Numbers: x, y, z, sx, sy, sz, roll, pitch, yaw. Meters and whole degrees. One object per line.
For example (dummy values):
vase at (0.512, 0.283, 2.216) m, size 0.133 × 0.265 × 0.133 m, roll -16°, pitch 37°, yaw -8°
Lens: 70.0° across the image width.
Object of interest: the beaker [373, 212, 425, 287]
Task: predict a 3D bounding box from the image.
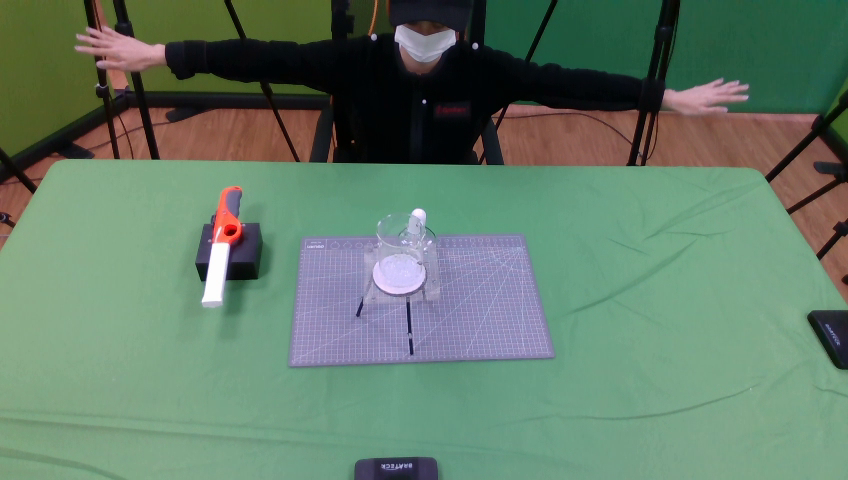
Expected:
beaker at (-0.036, 0.019, 0.936) m, size 0.074 × 0.101 × 0.083 m, roll -29°, pitch 54°, yaw -26°

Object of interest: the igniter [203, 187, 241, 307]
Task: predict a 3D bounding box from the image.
igniter at (-0.365, 0.003, 1.098) m, size 0.057 × 0.025 × 0.274 m, roll -1°, pitch 49°, yaw -7°

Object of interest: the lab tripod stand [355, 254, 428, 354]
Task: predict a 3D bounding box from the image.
lab tripod stand at (-0.046, 0.100, 1.017) m, size 0.148 × 0.132 × 0.147 m, roll 1°, pitch 47°, yaw -1°

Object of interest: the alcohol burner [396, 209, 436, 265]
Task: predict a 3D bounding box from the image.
alcohol burner at (-0.015, -0.011, 1.140) m, size 0.078 × 0.120 × 0.077 m, roll 2°, pitch 44°, yaw -1°

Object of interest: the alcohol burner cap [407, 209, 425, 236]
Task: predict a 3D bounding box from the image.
alcohol burner cap at (-0.013, -0.036, 1.115) m, size 0.034 × 0.048 × 0.033 m, roll 5°, pitch 42°, yaw -4°

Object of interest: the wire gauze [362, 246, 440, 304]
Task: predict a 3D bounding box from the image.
wire gauze at (-0.038, 0.052, 0.972) m, size 0.121 × 0.011 × 0.124 m, roll 0°, pitch 44°, yaw -5°
